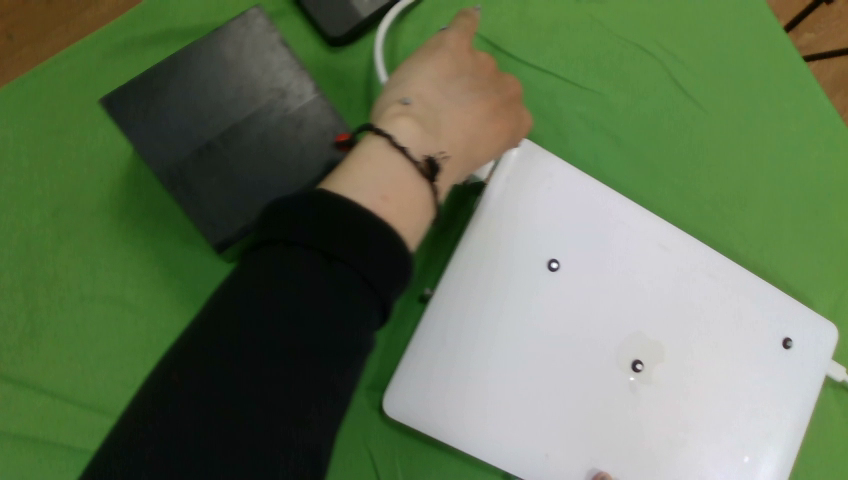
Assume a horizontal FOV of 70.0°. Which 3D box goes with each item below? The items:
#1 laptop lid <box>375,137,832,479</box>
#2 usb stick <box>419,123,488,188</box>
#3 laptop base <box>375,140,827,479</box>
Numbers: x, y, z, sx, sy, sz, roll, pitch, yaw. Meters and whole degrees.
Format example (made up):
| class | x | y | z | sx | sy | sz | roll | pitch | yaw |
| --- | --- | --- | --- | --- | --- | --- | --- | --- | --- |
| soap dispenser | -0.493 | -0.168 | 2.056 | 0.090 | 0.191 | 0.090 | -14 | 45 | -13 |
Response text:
| class | x | y | z | sx | sy | sz | roll | pitch | yaw |
| --- | --- | --- | --- | --- | --- | --- | --- | --- | --- |
| laptop lid | 0.164 | 0.101 | 0.485 | 0.358 | 0.013 | 0.241 | 30 | 81 | -12 |
| usb stick | 0.028 | -0.060 | 0.453 | 0.059 | 0.027 | 0.021 | 36 | 73 | -16 |
| laptop base | 0.161 | 0.101 | 0.499 | 0.356 | 0.023 | 0.235 | 28 | 82 | -12 |
